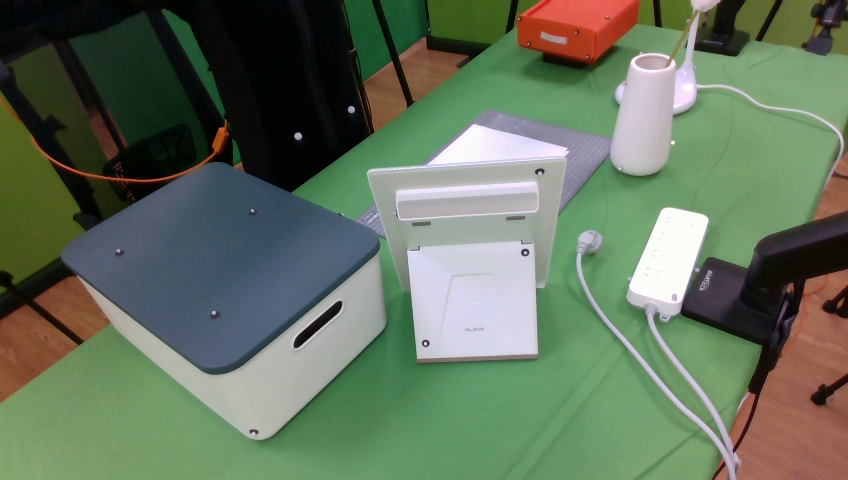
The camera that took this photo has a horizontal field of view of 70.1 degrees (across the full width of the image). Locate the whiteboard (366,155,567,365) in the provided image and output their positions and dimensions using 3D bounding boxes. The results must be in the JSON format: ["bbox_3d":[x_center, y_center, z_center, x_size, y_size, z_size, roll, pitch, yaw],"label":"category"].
[{"bbox_3d":[0.059,0.049,0.738,0.217,0.307,0.143,-3,60,5],"label":"whiteboard"}]

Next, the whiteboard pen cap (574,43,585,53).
[{"bbox_3d":[0.347,-0.429,1.350,0.018,0.018,0.033,17,40,25],"label":"whiteboard pen cap"}]

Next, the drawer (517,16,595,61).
[{"bbox_3d":[0.353,-0.505,1.404,0.193,0.073,0.212,25,50,33],"label":"drawer"}]

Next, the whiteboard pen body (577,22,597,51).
[{"bbox_3d":[0.373,-0.467,1.390,0.017,0.017,0.141,14,47,23],"label":"whiteboard pen body"}]

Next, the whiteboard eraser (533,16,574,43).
[{"bbox_3d":[0.305,-0.493,1.422,0.055,0.042,0.113,27,43,25],"label":"whiteboard eraser"}]

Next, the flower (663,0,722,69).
[{"bbox_3d":[0.379,-0.261,0.965,0.044,0.362,0.038,20,53,5],"label":"flower"}]

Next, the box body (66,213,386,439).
[{"bbox_3d":[-0.257,0.068,0.824,0.361,0.161,0.255,24,49,31],"label":"box body"}]

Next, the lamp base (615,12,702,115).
[{"bbox_3d":[0.484,-0.363,1.211,0.180,0.181,0.159,-15,41,-14],"label":"lamp base"}]

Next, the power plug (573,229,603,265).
[{"bbox_3d":[0.241,0.014,0.914,0.072,0.053,0.035,-45,55,-11],"label":"power plug"}]

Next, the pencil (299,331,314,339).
[{"bbox_3d":[-0.204,0.121,0.877,0.192,0.012,0.012,16,45,38],"label":"pencil"}]

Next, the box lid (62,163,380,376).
[{"bbox_3d":[-0.263,0.012,0.774,0.368,0.015,0.264,23,49,32],"label":"box lid"}]

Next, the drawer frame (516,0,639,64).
[{"bbox_3d":[0.356,-0.507,1.410,0.200,0.083,0.214,25,52,32],"label":"drawer frame"}]

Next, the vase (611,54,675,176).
[{"bbox_3d":[0.377,-0.209,1.031,0.098,0.201,0.097,-3,40,3],"label":"vase"}]

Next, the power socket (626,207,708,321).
[{"bbox_3d":[0.359,0.025,0.886,0.072,0.033,0.227,16,46,26],"label":"power socket"}]
